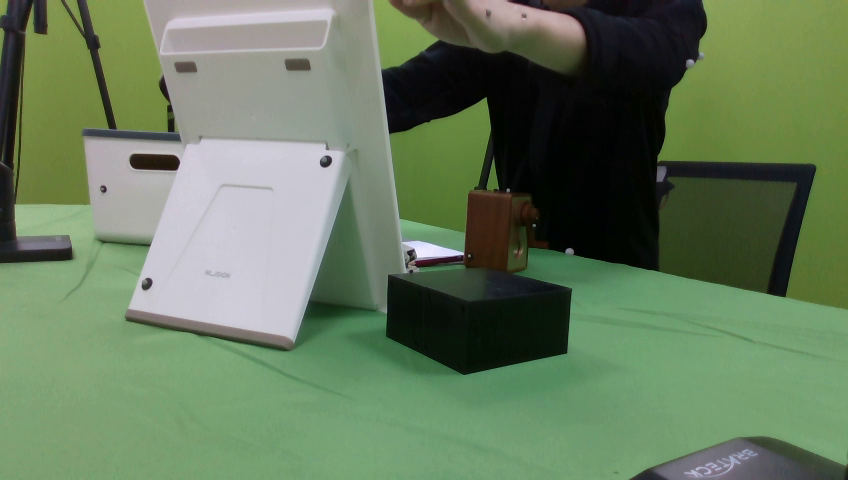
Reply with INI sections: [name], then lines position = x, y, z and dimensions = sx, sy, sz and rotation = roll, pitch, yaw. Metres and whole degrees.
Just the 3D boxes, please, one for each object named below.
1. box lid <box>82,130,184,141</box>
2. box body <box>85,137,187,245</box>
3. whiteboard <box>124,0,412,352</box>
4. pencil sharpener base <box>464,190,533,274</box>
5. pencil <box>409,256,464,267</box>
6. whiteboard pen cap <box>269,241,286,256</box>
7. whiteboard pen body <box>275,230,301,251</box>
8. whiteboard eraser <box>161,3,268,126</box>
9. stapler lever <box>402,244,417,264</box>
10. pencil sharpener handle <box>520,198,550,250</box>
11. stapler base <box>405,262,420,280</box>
[box lid]
position = -0.337, -0.161, 1.011
dimensions = 0.263, 0.015, 0.372
rotation = 4, 7, 11
[box body]
position = -0.340, -0.088, 1.022
dimensions = 0.254, 0.160, 0.364
rotation = 4, 7, 11
[whiteboard]
position = -0.151, -0.049, 0.471
dimensions = 0.216, 0.305, 0.144
rotation = 6, 27, 24
[pencil sharpener base]
position = 0.103, -0.012, 0.812
dimensions = 0.076, 0.107, 0.061
rotation = 8, 9, 36
[pencil]
position = 0.041, 0.028, 0.849
dimensions = 0.012, 0.012, 0.195
rotation = 10, 10, 44
[whiteboard pen cap]
position = -0.202, 0.012, 0.836
dimensions = 0.018, 0.018, 0.033
rotation = 2, 9, -1
[whiteboard pen body]
position = -0.203, 0.002, 0.894
dimensions = 0.017, 0.017, 0.140
rotation = 2, 9, -1
[whiteboard eraser]
position = -0.192, -0.154, 0.543
dimensions = 0.112, 0.055, 0.042
rotation = -34, 6, 35
[stapler lever]
position = -0.066, 0.003, 0.754
dimensions = 0.117, 0.040, 0.027
rotation = 9, 14, 23
[pencil sharpener handle]
position = 0.147, -0.020, 0.784
dimensions = 0.030, 0.068, 0.036
rotation = 8, 24, 36
[stapler base]
position = -0.069, 0.027, 0.759
dimensions = 0.130, 0.024, 0.041
rotation = 10, 14, 23
